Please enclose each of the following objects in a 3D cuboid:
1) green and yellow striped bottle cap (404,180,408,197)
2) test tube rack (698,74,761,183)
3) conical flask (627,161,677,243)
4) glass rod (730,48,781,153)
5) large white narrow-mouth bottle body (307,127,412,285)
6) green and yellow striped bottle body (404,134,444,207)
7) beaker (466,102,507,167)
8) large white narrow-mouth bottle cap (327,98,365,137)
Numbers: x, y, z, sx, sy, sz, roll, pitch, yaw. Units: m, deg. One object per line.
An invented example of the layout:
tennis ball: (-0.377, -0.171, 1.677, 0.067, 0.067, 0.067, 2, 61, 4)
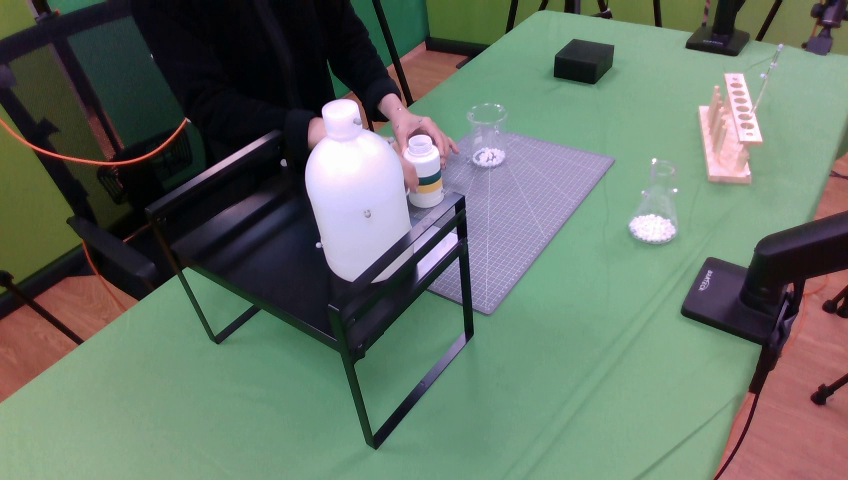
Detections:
green and yellow striped bottle cap: (-0.048, -0.082, 0.975, 0.045, 0.020, 0.045, -1, 41, 1)
test tube rack: (0.547, -0.208, 1.095, 0.066, 0.085, 0.242, 5, 42, 15)
conical flask: (0.355, -0.061, 0.921, 0.075, 0.122, 0.075, -4, 41, 4)
glass rod: (0.554, -0.228, 1.015, 0.008, 0.200, 0.008, 1, 44, -1)
large white narrow-mouth bottle body: (-0.070, -0.051, 0.638, 0.102, 0.195, 0.101, -3, 40, 3)
green and yellow striped bottle body: (-0.001, -0.121, 1.038, 0.063, 0.120, 0.063, -4, 41, 4)
beaker: (0.121, -0.195, 1.124, 0.084, 0.101, 0.073, -34, 48, -28)
large white narrow-mouth bottle cap: (-0.075, -0.118, 0.581, 0.038, 0.024, 0.037, -3, 40, 3)
